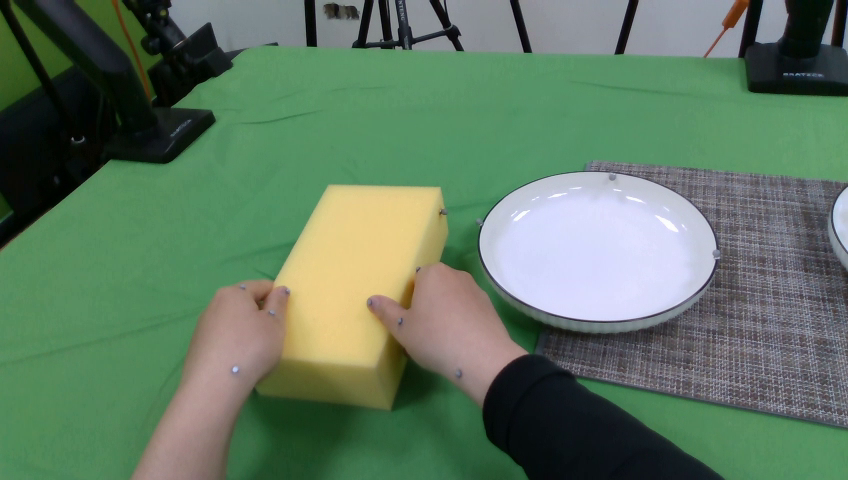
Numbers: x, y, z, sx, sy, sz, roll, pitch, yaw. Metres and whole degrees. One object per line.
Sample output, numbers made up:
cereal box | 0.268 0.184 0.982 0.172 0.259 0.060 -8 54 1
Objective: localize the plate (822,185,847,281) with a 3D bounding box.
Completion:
plate | 0.446 0.015 0.501 0.207 0.039 0.205 -5 40 5

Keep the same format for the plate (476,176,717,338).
plate | 0.153 0.014 0.556 0.209 0.038 0.207 -5 40 5

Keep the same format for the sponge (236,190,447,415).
sponge | -0.062 0.044 0.539 0.118 0.061 0.205 4 46 17
